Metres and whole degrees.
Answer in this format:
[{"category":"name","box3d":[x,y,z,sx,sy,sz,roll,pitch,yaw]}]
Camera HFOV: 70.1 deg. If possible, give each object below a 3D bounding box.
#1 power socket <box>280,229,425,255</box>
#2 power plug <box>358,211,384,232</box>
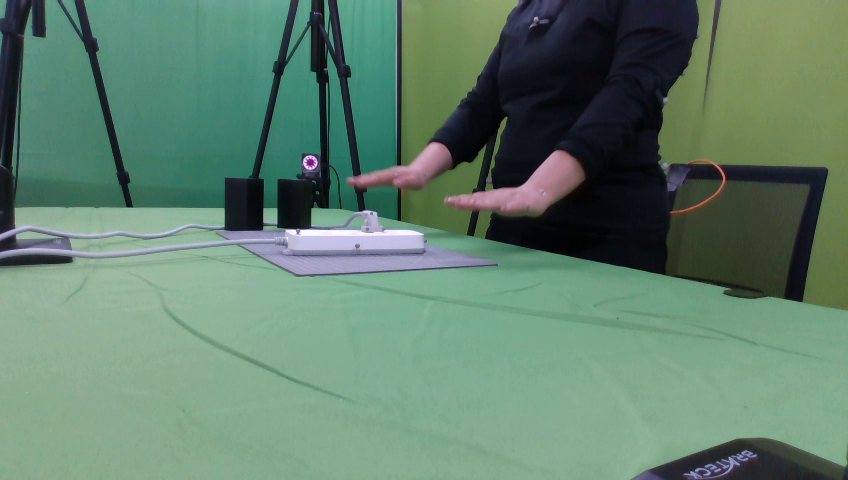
[{"category":"power socket","box3d":[-0.105,0.002,0.920,0.228,0.032,0.072,-1,7,-23]},{"category":"power plug","box3d":[-0.085,-0.020,0.958,0.035,0.052,0.072,1,5,-13]}]
